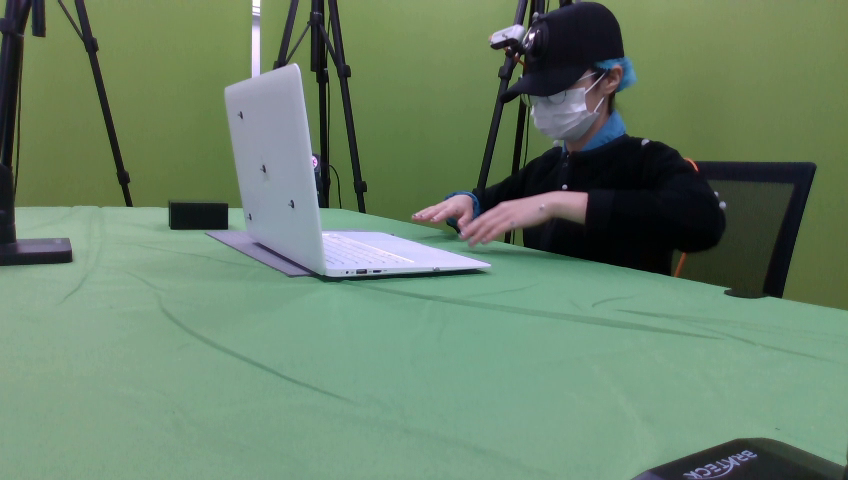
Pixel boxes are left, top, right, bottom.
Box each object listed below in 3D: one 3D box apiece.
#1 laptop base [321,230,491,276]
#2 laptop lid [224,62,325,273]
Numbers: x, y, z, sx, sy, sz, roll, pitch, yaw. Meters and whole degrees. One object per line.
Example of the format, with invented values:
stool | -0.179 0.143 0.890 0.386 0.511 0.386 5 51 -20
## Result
laptop base | -0.095 0.015 0.888 0.237 0.023 0.352 2 7 -30
laptop lid | -0.210 -0.097 0.804 0.013 0.241 0.355 -12 15 -28
